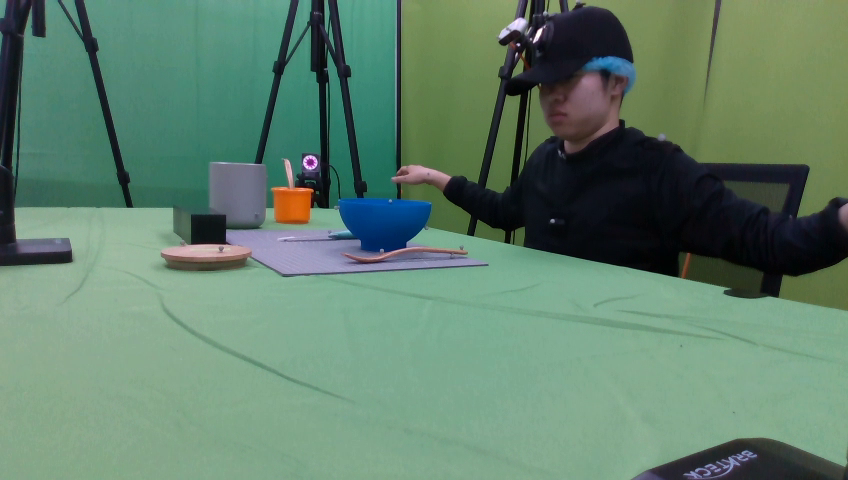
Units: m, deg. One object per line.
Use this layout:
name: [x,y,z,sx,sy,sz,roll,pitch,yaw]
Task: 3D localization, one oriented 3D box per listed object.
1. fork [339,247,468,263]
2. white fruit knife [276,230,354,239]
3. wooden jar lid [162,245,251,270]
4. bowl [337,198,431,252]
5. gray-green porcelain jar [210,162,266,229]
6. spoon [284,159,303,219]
fork: [-0.023,0.020,0.863,0.208,0.018,0.028,-4,3,-31]
white fruit knife: [-0.159,-0.009,1.058,0.208,0.016,0.027,-3,-5,-33]
wooden jar lid: [-0.278,0.022,0.777,0.108,0.020,0.108,2,6,0]
bowl: [-0.066,-0.024,0.967,0.151,0.077,0.151,3,7,0]
gray-green porcelain jar: [-0.367,-0.088,1.195,0.106,0.126,0.106,3,8,0]
spoon: [-0.302,-0.118,1.370,0.042,0.193,0.021,4,-39,-24]
